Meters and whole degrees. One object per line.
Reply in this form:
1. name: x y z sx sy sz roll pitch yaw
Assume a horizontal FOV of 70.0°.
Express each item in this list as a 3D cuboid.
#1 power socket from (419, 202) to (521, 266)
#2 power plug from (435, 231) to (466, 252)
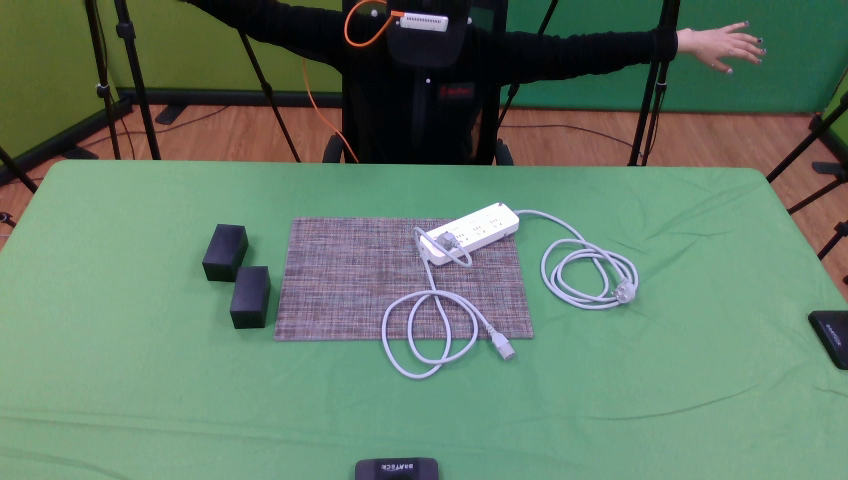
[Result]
1. power socket: 0.093 -0.014 1.204 0.227 0.033 0.072 -23 52 -24
2. power plug: 0.047 0.015 1.141 0.035 0.053 0.072 -14 47 -17
